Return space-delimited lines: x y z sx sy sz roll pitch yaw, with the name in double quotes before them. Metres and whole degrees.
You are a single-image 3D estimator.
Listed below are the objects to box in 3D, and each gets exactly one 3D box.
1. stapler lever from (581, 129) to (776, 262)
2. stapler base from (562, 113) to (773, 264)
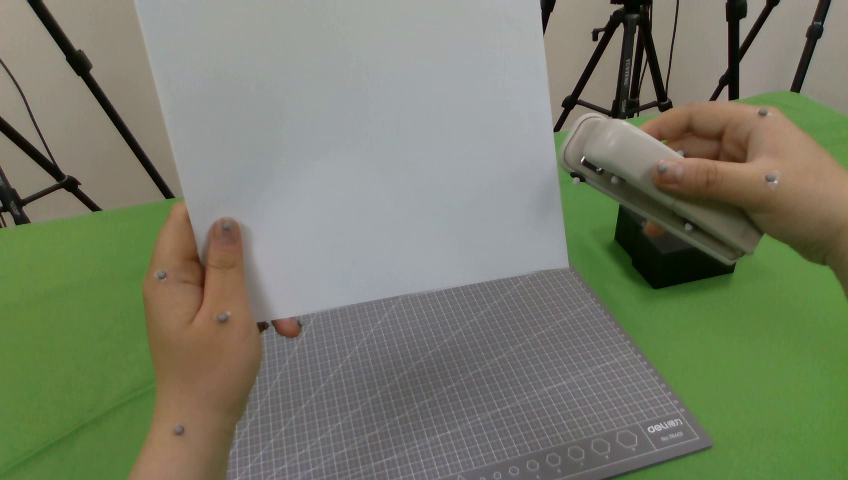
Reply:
"stapler lever" 0.145 -0.025 0.344 0.118 0.027 0.040 30 19 1
"stapler base" 0.147 -0.030 0.366 0.130 0.041 0.024 30 19 0
